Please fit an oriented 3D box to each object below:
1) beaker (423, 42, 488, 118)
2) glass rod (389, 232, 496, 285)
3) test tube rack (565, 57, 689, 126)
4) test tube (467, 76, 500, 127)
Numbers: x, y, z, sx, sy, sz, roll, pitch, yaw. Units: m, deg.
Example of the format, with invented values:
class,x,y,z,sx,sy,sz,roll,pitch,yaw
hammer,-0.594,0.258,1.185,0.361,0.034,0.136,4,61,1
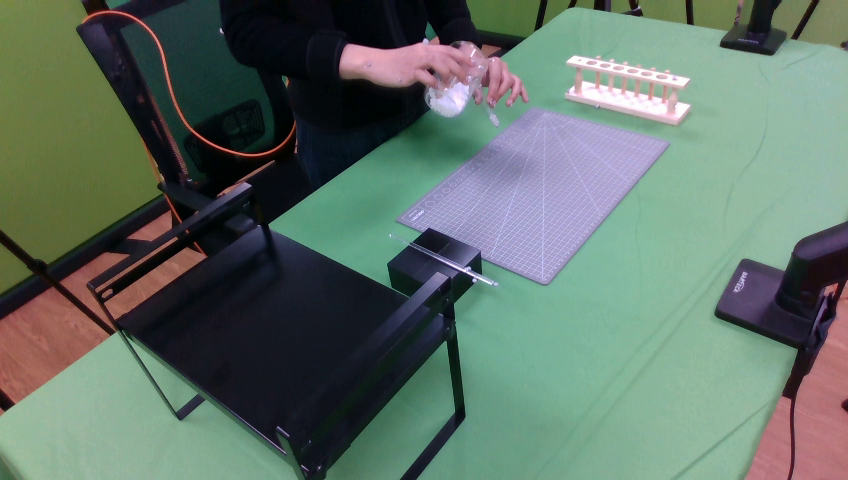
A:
class,x,y,z,sx,sy,sz,roll,pitch,yaw
beaker,0.049,-0.253,0.971,0.073,0.084,0.100,20,68,24
glass rod,0.022,0.025,0.878,0.198,0.008,0.008,25,50,33
test tube rack,0.412,-0.311,1.230,0.240,0.085,0.067,24,49,32
test tube,0.109,-0.245,1.083,0.017,0.151,0.017,-9,66,21
